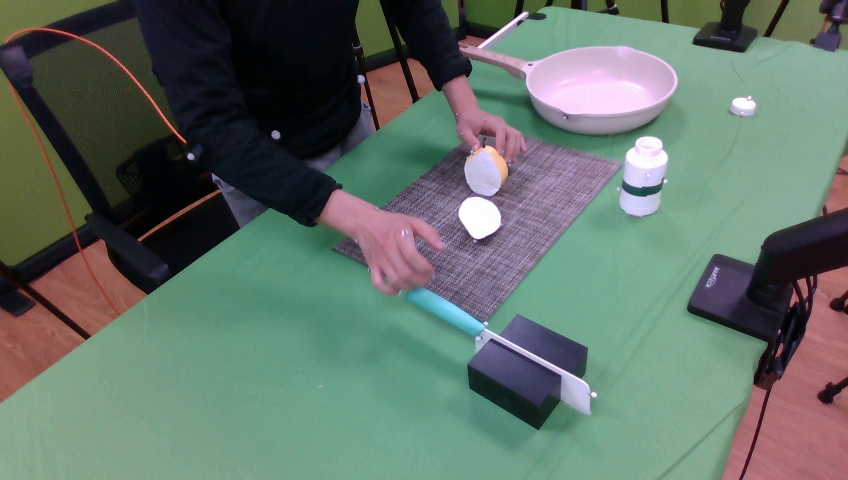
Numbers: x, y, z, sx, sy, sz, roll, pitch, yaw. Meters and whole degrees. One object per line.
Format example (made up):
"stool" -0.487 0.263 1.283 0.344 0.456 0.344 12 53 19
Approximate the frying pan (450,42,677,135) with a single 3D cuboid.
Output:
"frying pan" 0.268 -0.344 1.266 0.485 0.103 0.307 26 49 21

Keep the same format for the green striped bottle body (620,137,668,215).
"green striped bottle body" 0.350 -0.103 0.963 0.063 0.120 0.063 -4 41 4

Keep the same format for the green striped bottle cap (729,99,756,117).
"green striped bottle cap" 0.623 -0.259 1.182 0.044 0.020 0.044 -3 40 3

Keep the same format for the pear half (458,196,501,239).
"pear half" 0.087 -0.030 0.975 0.070 0.031 0.088 14 55 0

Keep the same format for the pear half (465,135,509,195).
"pear half" 0.111 -0.137 1.039 0.076 0.110 0.056 16 45 19

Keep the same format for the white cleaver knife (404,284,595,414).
"white cleaver knife" 0.083 0.135 0.764 0.284 0.066 0.021 28 46 31
